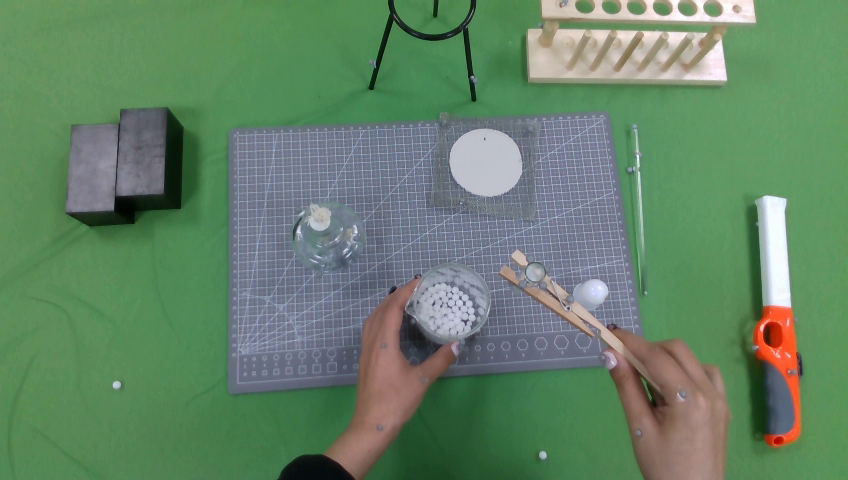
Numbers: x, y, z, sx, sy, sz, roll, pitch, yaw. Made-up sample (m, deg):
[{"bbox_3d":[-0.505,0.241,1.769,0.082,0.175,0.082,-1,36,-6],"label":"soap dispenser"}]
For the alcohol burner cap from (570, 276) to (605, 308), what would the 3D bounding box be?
[{"bbox_3d":[0.180,0.055,0.659,0.034,0.048,0.033,1,76,-2],"label":"alcohol burner cap"}]

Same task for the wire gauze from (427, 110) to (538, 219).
[{"bbox_3d":[0.070,-0.091,0.706,0.125,0.011,0.121,8,77,-2],"label":"wire gauze"}]

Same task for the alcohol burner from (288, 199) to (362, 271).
[{"bbox_3d":[-0.104,-0.010,0.623,0.078,0.119,0.077,0,75,0],"label":"alcohol burner"}]

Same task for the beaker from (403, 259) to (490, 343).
[{"bbox_3d":[0.020,0.067,0.619,0.084,0.100,0.073,-9,76,-4],"label":"beaker"}]

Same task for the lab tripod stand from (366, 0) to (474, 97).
[{"bbox_3d":[0.000,-0.227,0.673,0.148,0.132,0.147,1,78,-2],"label":"lab tripod stand"}]

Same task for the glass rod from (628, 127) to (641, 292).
[{"bbox_3d":[0.245,-0.038,0.704,0.008,0.008,0.199,2,79,-3],"label":"glass rod"}]

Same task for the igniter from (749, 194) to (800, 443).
[{"bbox_3d":[0.387,0.082,0.674,0.057,0.025,0.275,7,76,-11],"label":"igniter"}]

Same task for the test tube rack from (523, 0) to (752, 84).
[{"bbox_3d":[0.245,-0.236,0.712,0.242,0.085,0.066,0,76,-3],"label":"test tube rack"}]

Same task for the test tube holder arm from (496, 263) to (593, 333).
[{"bbox_3d":[0.096,0.046,0.475,0.087,0.015,0.010,32,89,8],"label":"test tube holder arm"}]

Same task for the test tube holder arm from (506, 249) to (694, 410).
[{"bbox_3d":[0.134,0.068,0.469,0.178,0.015,0.013,40,91,8],"label":"test tube holder arm"}]

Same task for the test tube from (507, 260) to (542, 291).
[{"bbox_3d":[0.081,0.031,0.500,0.017,0.150,0.017,0,82,4],"label":"test tube"}]
